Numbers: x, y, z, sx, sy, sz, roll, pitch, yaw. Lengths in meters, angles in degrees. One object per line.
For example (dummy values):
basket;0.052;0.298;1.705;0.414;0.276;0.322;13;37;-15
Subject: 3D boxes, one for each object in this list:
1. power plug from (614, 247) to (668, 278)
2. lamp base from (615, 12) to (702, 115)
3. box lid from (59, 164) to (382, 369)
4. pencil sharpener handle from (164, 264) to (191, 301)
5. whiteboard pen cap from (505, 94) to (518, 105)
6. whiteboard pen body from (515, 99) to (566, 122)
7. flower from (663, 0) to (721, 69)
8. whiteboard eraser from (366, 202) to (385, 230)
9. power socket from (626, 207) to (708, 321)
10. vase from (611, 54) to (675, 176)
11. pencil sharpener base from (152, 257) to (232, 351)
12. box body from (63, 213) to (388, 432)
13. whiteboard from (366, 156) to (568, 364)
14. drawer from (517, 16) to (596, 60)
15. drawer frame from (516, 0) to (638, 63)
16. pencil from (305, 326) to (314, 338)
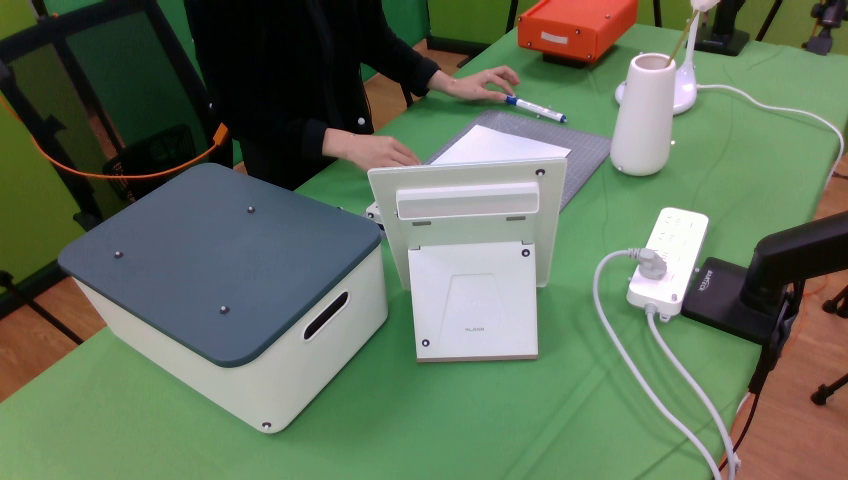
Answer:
power plug;0.306;0.031;0.851;0.072;0.053;0.035;24;49;33
lamp base;0.484;-0.363;1.211;0.180;0.181;0.159;-15;41;-14
box lid;-0.263;0.010;0.777;0.368;0.015;0.264;20;47;29
pencil sharpener handle;-0.354;0.055;0.866;0.036;0.068;0.030;-16;39;-29
whiteboard pen cap;0.190;-0.299;1.292;0.033;0.018;0.018;31;53;30
whiteboard pen body;0.234;-0.274;1.262;0.139;0.017;0.017;28;51;29
flower;0.379;-0.261;0.965;0.044;0.362;0.038;20;53;5
whiteboard eraser;-0.038;-0.038;1.006;0.112;0.042;0.055;16;48;25
power socket;0.359;0.025;0.886;0.072;0.033;0.227;16;46;26
vase;0.377;-0.209;1.031;0.098;0.201;0.097;-4;40;3
pencil sharpener base;-0.323;0.088;0.842;0.061;0.107;0.076;-27;44;-20
box body;-0.256;0.065;0.827;0.361;0.161;0.255;20;48;29
whiteboard;0.059;0.050;0.738;0.217;0.307;0.143;-2;60;6
drawer;0.353;-0.506;1.405;0.193;0.073;0.212;23;49;32
drawer frame;0.355;-0.508;1.411;0.200;0.083;0.214;23;51;32
pencil;-0.187;0.105;0.879;0.012;0.012;0.192;-27;42;-22
